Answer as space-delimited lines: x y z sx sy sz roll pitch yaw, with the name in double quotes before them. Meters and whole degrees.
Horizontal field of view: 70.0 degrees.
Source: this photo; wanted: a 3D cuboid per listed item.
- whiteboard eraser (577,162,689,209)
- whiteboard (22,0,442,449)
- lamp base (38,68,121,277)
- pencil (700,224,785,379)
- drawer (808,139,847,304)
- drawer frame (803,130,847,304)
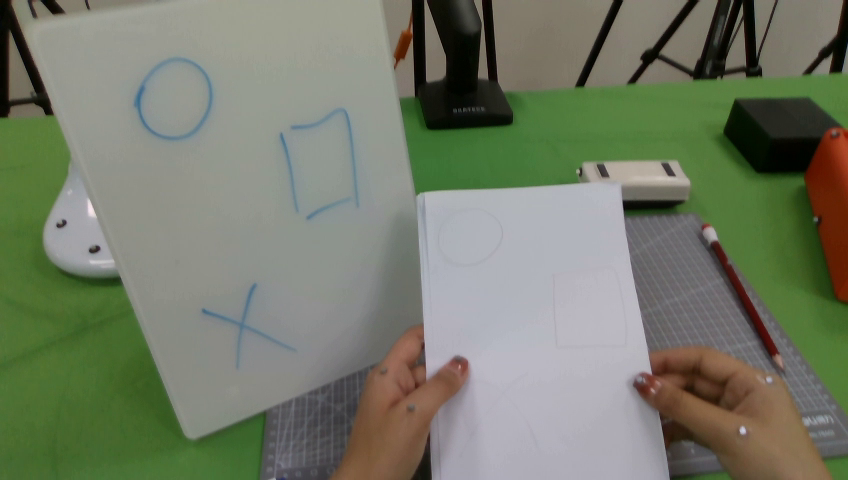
"whiteboard eraser" 0.235 -0.061 0.685 0.113 0.042 0.055 0 41 -1
"whiteboard" -0.132 -0.035 0.488 0.218 0.307 0.142 -19 25 -20
"lamp base" -0.319 -0.081 0.591 0.178 0.182 0.160 23 45 27
"pencil" 0.299 0.051 0.573 0.012 0.012 0.192 0 43 -1
"drawer" 0.508 -0.010 0.596 0.194 0.074 0.210 11 41 14
"drawer frame" 0.509 -0.013 0.599 0.201 0.083 0.212 10 41 13
